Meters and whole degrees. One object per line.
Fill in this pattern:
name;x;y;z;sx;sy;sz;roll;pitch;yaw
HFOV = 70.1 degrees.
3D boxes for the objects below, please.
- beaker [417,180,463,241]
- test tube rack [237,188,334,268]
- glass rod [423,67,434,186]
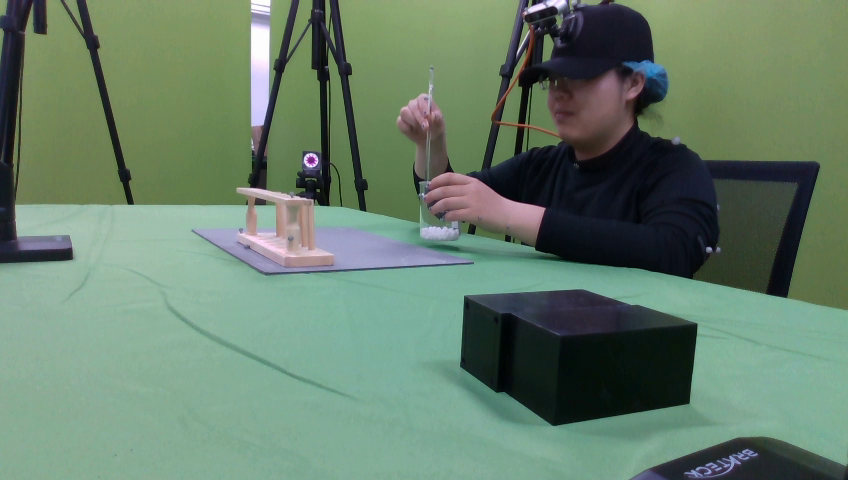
beaker;0.031;-0.049;1.011;0.083;0.100;0.074;4;6;40
test tube rack;-0.202;-0.024;0.854;0.067;0.085;0.241;-2;8;-30
glass rod;0.007;-0.190;1.011;0.008;0.199;0.008;3;-1;0
